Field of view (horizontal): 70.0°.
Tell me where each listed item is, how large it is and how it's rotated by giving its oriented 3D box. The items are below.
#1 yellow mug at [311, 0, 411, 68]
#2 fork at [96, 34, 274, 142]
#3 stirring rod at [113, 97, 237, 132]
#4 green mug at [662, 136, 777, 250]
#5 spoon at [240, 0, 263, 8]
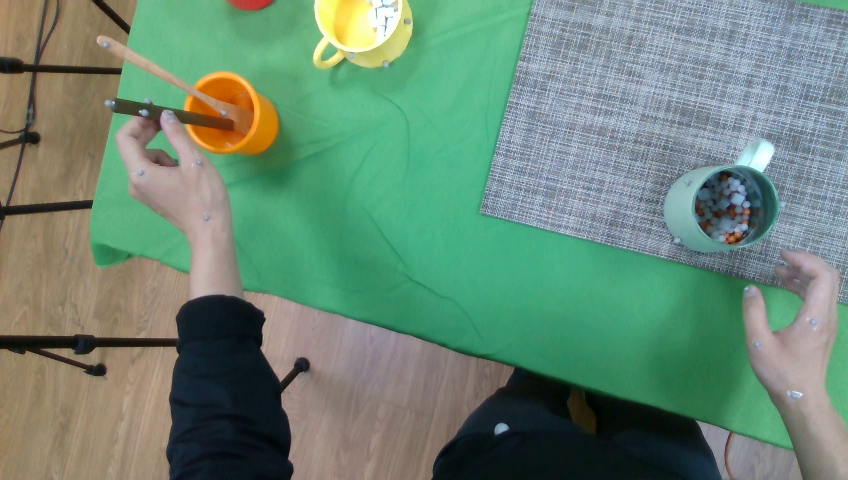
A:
[{"bbox_3d":[-0.081,-0.247,0.697,0.131,0.064,0.100,-44,85,9],"label":"yellow mug"},{"bbox_3d":[-0.264,-0.169,0.686,0.209,0.018,0.028,28,96,-36],"label":"fork"},{"bbox_3d":[-0.251,-0.129,0.631,0.006,0.176,0.014,7,96,19],"label":"stirring rod"},{"bbox_3d":[0.308,-0.050,0.619,0.092,0.105,0.125,31,96,8],"label":"green mug"},{"bbox_3d":[-0.208,-0.356,0.672,0.041,0.021,0.195,10,138,7],"label":"spoon"}]
